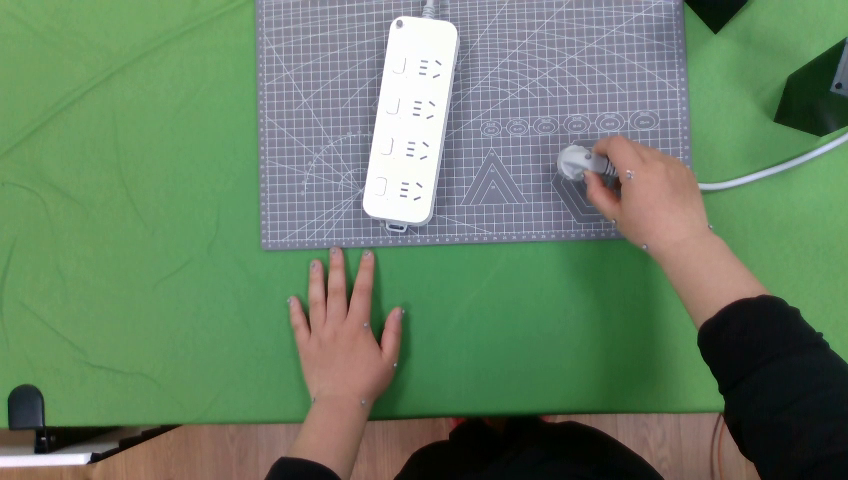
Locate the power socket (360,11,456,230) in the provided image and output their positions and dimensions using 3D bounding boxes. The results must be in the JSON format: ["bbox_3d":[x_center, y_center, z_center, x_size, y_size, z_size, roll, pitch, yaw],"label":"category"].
[{"bbox_3d":[-0.016,-0.124,0.623,0.072,0.032,0.226,9,88,4],"label":"power socket"}]

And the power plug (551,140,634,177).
[{"bbox_3d":[0.160,-0.070,0.596,0.073,0.052,0.035,33,82,-11],"label":"power plug"}]
